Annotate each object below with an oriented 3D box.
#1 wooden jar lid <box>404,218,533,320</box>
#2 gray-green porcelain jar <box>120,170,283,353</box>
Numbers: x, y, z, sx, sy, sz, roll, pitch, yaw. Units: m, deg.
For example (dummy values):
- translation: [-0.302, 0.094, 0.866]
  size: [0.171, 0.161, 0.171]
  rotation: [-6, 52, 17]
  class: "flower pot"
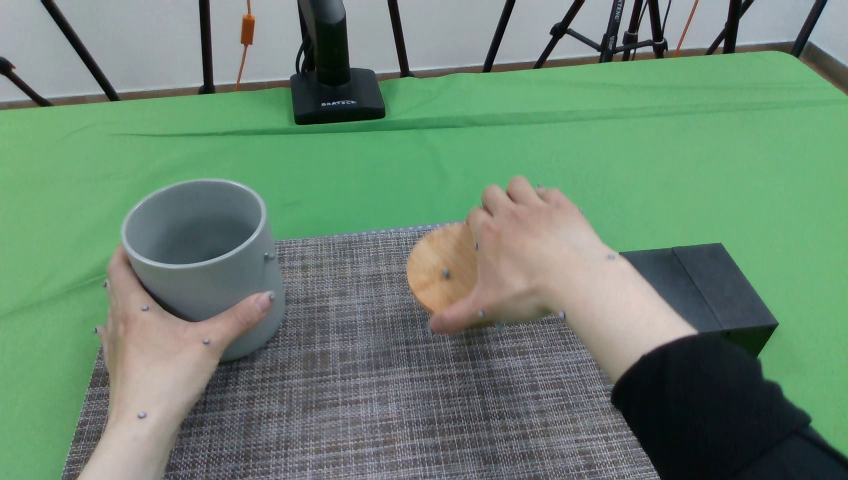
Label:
- translation: [0.037, 0.025, 0.513]
  size: [0.108, 0.021, 0.107]
  rotation: [1, 47, -1]
  class: "wooden jar lid"
- translation: [-0.175, 0.023, 0.501]
  size: [0.106, 0.127, 0.105]
  rotation: [1, 44, -1]
  class: "gray-green porcelain jar"
